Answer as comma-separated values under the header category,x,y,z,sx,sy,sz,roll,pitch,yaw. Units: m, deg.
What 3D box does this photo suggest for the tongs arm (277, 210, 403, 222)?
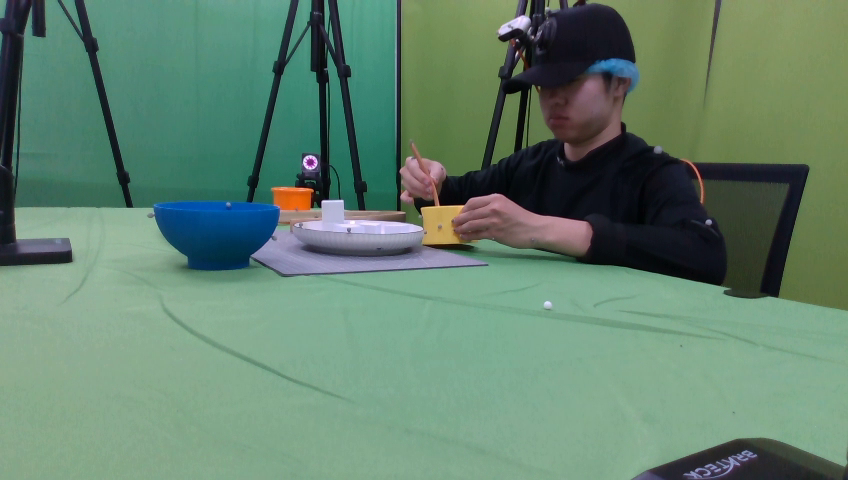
category,x,y,z,sx,sy,sz,roll,pitch,yaw
tongs arm,-0.206,-0.052,1.332,0.387,0.026,0.050,-2,8,-44

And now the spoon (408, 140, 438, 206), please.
category,x,y,z,sx,sy,sz,roll,pitch,yaw
spoon,0.012,-0.088,1.067,0.021,0.193,0.041,-20,-2,6

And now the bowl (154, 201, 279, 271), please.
category,x,y,z,sx,sy,sz,roll,pitch,yaw
bowl,-0.263,-0.005,0.773,0.151,0.077,0.151,3,8,0

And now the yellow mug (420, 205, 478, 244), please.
category,x,y,z,sx,sy,sz,roll,pitch,yaw
yellow mug,0.051,-0.027,1.042,0.100,0.064,0.130,-4,3,-31

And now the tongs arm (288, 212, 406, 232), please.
category,x,y,z,sx,sy,sz,roll,pitch,yaw
tongs arm,-0.146,-0.040,1.279,0.028,0.028,0.389,3,5,33

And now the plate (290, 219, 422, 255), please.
category,x,y,z,sx,sy,sz,roll,pitch,yaw
plate,-0.108,-0.005,0.963,0.208,0.039,0.207,3,7,0
